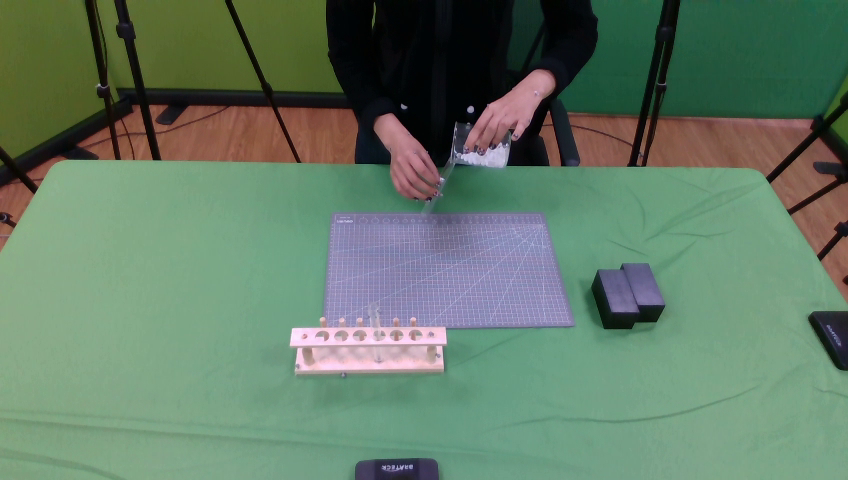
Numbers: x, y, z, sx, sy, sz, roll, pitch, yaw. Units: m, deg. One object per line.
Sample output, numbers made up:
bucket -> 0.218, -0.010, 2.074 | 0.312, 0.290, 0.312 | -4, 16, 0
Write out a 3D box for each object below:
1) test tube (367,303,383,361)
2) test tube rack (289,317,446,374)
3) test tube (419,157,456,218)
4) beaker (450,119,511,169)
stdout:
test tube -> -0.075, 0.146, 0.941 | 0.017, 0.151, 0.017 | 0, 49, 0
test tube rack -> -0.089, 0.167, 0.987 | 0.242, 0.085, 0.066 | 0, 46, -4
test tube -> 0.024, -0.096, 1.142 | 0.017, 0.151, 0.017 | 17, 40, -15
beaker -> 0.099, -0.164, 1.065 | 0.100, 0.084, 0.073 | 8, 53, 2
